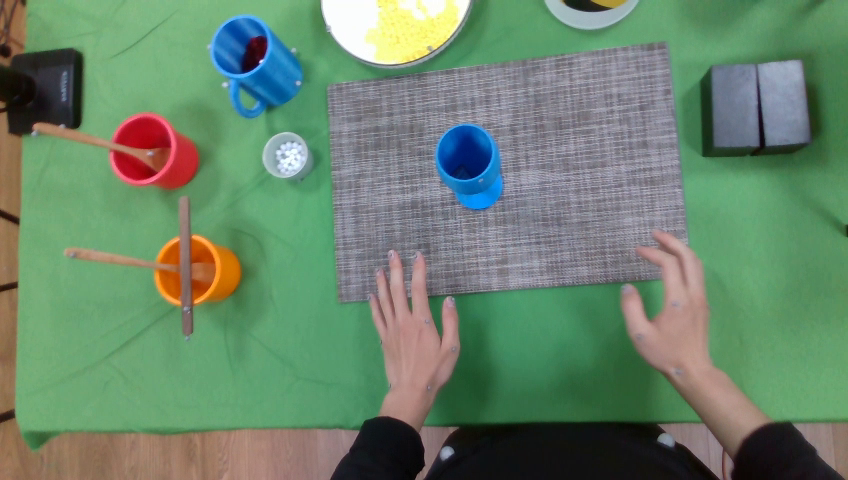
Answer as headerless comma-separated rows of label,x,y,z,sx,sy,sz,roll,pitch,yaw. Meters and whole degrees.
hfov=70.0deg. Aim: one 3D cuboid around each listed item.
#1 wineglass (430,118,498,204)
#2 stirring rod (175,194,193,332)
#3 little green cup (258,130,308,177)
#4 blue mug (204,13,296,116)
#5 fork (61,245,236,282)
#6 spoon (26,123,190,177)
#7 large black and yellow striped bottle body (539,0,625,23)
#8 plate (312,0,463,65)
wineglass,0.051,-0.087,0.707,0.073,0.173,0.073,-1,84,9
stirring rod,-0.305,0.028,0.768,0.014,0.006,0.175,-6,84,11
little green cup,-0.188,-0.115,0.820,0.061,0.039,0.061,-1,86,10
blue mug,-0.232,-0.222,0.802,0.082,0.106,0.116,15,88,10
fork,-0.346,0.029,0.777,0.209,0.018,0.028,12,93,-34
spoon,-0.413,-0.124,0.803,0.195,0.021,0.041,14,88,-33
large black and yellow striped bottle body,0.193,-0.352,0.705,0.130,0.184,0.130,-1,85,10
plate,-0.047,-0.334,0.816,0.209,0.038,0.208,-1,86,9
